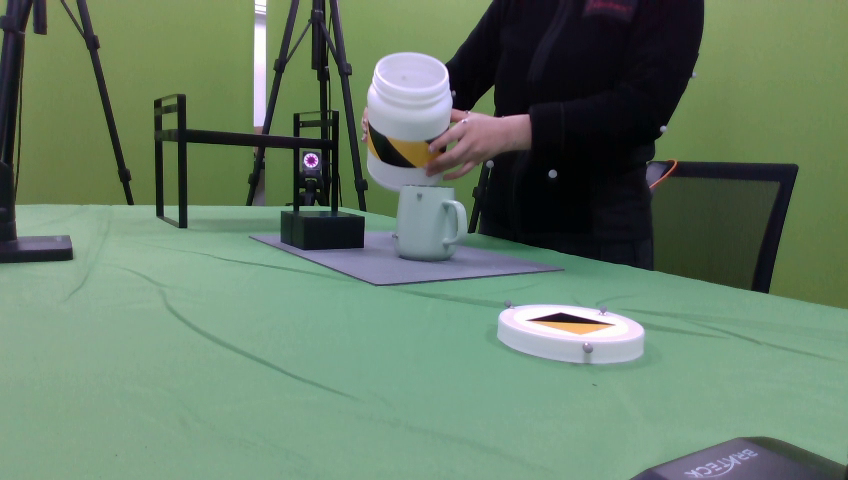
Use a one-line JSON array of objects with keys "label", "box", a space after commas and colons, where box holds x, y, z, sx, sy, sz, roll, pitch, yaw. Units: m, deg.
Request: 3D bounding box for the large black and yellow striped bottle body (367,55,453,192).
[{"label": "large black and yellow striped bottle body", "box": [-0.024, -0.181, 0.947, 0.131, 0.184, 0.130, 3, 47, -3]}]

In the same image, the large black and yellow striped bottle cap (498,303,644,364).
[{"label": "large black and yellow striped bottle cap", "box": [0.117, 0.072, 0.486, 0.115, 0.019, 0.115, 1, 8, 0]}]

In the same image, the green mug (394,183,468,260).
[{"label": "green mug", "box": [0.015, -0.026, 0.858, 0.093, 0.105, 0.124, -4, 9, -41]}]
